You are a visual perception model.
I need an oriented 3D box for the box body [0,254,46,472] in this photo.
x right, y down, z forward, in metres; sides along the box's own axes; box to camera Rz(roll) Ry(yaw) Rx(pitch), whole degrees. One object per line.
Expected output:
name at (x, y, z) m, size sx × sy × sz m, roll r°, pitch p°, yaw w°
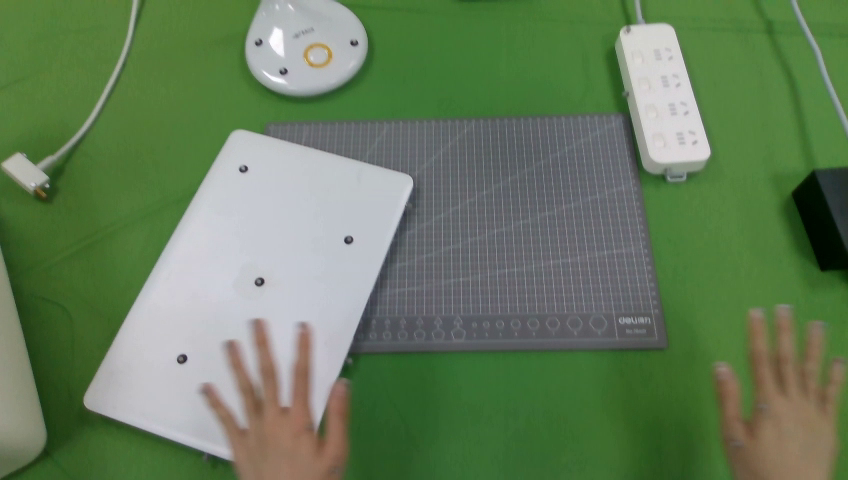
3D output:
box body at (-0.553, 0.090, 0.573) m, size 0.254 × 0.161 × 0.361 m, roll -27°, pitch 67°, yaw -10°

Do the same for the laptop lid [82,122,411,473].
laptop lid at (-0.177, 0.039, 0.650) m, size 0.241 × 0.013 × 0.355 m, roll 18°, pitch 68°, yaw 8°

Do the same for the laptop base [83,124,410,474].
laptop base at (-0.179, 0.044, 0.661) m, size 0.235 × 0.023 × 0.352 m, roll 17°, pitch 68°, yaw 6°

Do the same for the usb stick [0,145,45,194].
usb stick at (-0.470, -0.081, 0.716) m, size 0.059 × 0.021 × 0.027 m, roll 48°, pitch 56°, yaw -11°

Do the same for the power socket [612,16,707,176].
power socket at (0.282, -0.183, 0.736) m, size 0.072 × 0.033 × 0.225 m, roll -3°, pitch 66°, yaw -1°

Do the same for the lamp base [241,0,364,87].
lamp base at (-0.171, -0.306, 0.727) m, size 0.160 × 0.182 × 0.178 m, roll -38°, pitch 67°, yaw -14°
